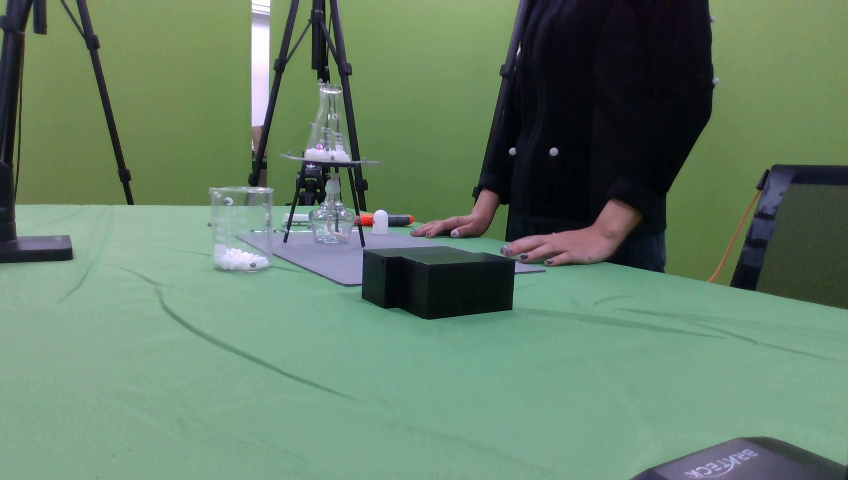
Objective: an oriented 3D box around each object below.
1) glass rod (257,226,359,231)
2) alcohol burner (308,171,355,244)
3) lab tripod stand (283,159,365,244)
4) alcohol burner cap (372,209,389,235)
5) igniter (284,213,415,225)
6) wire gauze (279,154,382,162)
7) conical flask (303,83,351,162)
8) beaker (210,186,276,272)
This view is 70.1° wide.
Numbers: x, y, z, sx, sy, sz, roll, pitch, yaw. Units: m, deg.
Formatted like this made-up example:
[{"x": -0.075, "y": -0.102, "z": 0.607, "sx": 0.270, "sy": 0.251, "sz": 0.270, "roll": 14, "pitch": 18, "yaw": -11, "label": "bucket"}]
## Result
[{"x": -0.216, "y": -0.022, "z": 1.151, "sx": 0.201, "sy": 0.008, "sz": 0.008, "roll": -2, "pitch": 8, "yaw": -28, "label": "glass rod"}, {"x": -0.151, "y": -0.054, "z": 0.993, "sx": 0.078, "sy": 0.119, "sz": 0.078, "roll": 2, "pitch": 6, "yaw": 0, "label": "alcohol burner"}, {"x": -0.151, "y": -0.063, "z": 0.983, "sx": 0.148, "sy": 0.131, "sz": 0.148, "roll": 4, "pitch": 7, "yaw": 0, "label": "lab tripod stand"}, {"x": -0.082, "y": -0.035, "z": 1.143, "sx": 0.034, "sy": 0.048, "sz": 0.034, "roll": 2, "pitch": 6, "yaw": 0, "label": "alcohol burner cap"}, {"x": -0.154, "y": -0.045, "z": 1.282, "sx": 0.278, "sy": 0.025, "sz": 0.057, "roll": 0, "pitch": -3, "yaw": -20, "label": "igniter"}, {"x": -0.149, "y": -0.128, "z": 0.974, "sx": 0.124, "sy": 0.011, "sz": 0.122, "roll": 7, "pitch": 6, "yaw": 41, "label": "wire gauze"}, {"x": -0.151, "y": -0.186, "z": 0.963, "sx": 0.075, "sy": 0.122, "sz": 0.075, "roll": 4, "pitch": 6, "yaw": 0, "label": "conical flask"}, {"x": -0.224, "y": -0.014, "z": 0.738, "sx": 0.084, "sy": 0.100, "sz": 0.074, "roll": 4, "pitch": 7, "yaw": 16, "label": "beaker"}]
